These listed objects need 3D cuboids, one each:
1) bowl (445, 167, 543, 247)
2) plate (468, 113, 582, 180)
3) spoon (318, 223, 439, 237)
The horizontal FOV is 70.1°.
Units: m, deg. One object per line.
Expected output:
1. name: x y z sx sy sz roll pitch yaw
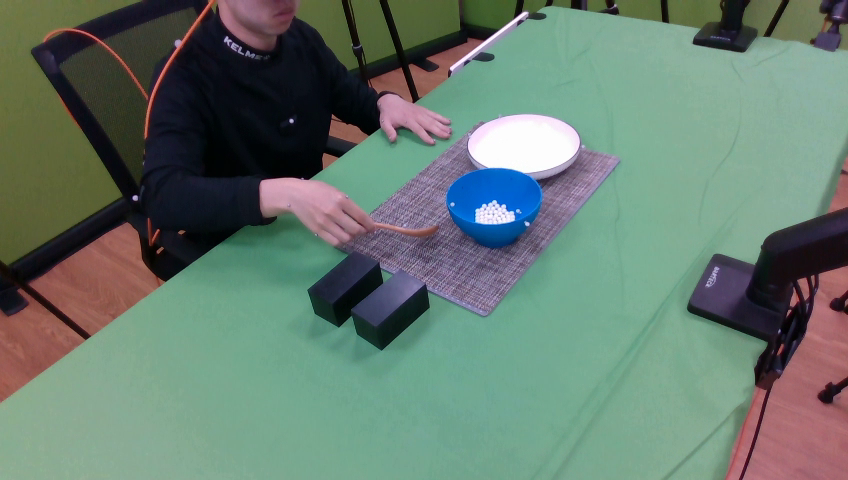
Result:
1. bowl: 0.111 -0.042 0.952 0.151 0.077 0.150 -4 41 4
2. plate: 0.186 -0.169 1.122 0.207 0.039 0.206 -4 40 4
3. spoon: -0.073 -0.019 0.959 0.194 0.021 0.041 4 1 4
